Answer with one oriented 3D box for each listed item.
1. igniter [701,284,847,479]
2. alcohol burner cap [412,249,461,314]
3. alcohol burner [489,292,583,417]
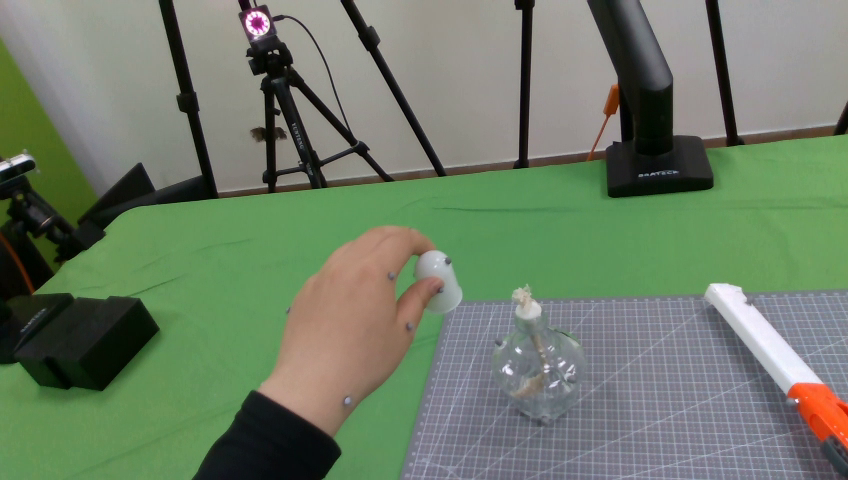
[{"bbox_3d":[0.284,0.117,0.440,0.057,0.025,0.274,5,30,-10],"label":"igniter"},{"bbox_3d":[0.007,0.027,0.439,0.034,0.048,0.033,-8,43,8],"label":"alcohol burner cap"},{"bbox_3d":[0.089,0.087,0.491,0.078,0.120,0.077,-9,36,7],"label":"alcohol burner"}]
